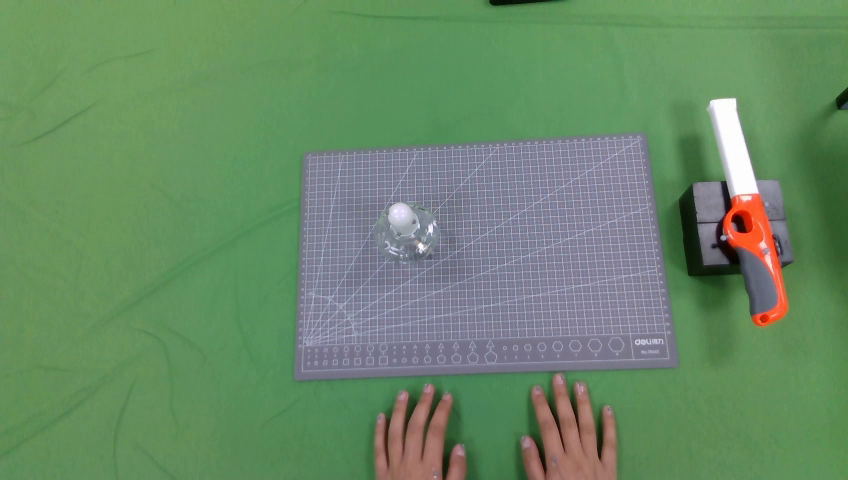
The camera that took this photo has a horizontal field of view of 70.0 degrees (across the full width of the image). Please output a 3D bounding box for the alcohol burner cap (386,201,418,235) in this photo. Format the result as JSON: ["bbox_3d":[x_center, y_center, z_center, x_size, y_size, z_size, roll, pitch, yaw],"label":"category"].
[{"bbox_3d":[-0.026,-0.026,0.674,0.034,0.048,0.033,-2,77,9],"label":"alcohol burner cap"}]

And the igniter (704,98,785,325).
[{"bbox_3d":[0.362,-0.040,0.689,0.057,0.025,0.274,-4,70,3],"label":"igniter"}]

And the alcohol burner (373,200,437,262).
[{"bbox_3d":[-0.023,-0.017,0.709,0.078,0.120,0.077,-1,72,2],"label":"alcohol burner"}]
